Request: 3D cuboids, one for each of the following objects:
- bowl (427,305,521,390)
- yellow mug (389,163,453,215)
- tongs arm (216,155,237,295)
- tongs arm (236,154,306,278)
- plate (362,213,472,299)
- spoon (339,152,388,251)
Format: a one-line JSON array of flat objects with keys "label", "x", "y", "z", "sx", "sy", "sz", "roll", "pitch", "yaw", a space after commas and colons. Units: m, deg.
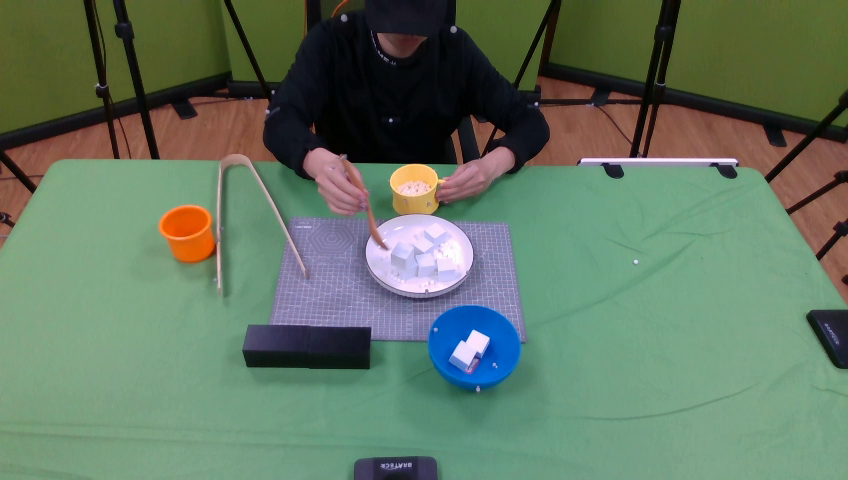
[{"label": "bowl", "x": 0.076, "y": 0.188, "z": 0.985, "sx": 0.151, "sy": 0.077, "sz": 0.150, "roll": 3, "pitch": 46, "yaw": -3}, {"label": "yellow mug", "x": -0.005, "y": -0.104, "z": 1.258, "sx": 0.131, "sy": 0.064, "sz": 0.099, "roll": -3, "pitch": 48, "yaw": 1}, {"label": "tongs arm", "x": -0.388, "y": -0.044, "z": 1.201, "sx": 0.051, "sy": 0.026, "sz": 0.382, "roll": -10, "pitch": 46, "yaw": -12}, {"label": "tongs arm", "x": -0.311, "y": -0.059, "z": 1.223, "sx": 0.028, "sy": 0.028, "sz": 0.385, "roll": -22, "pitch": 51, "yaw": -18}, {"label": "plate", "x": -0.013, "y": 0.034, "z": 1.150, "sx": 0.208, "sy": 0.039, "sz": 0.206, "roll": 2, "pitch": 46, "yaw": -2}, {"label": "spoon", "x": -0.102, "y": -0.061, "z": 1.021, "sx": 0.021, "sy": 0.194, "sz": 0.041, "roll": -27, "pitch": 26, "yaw": -18}]
